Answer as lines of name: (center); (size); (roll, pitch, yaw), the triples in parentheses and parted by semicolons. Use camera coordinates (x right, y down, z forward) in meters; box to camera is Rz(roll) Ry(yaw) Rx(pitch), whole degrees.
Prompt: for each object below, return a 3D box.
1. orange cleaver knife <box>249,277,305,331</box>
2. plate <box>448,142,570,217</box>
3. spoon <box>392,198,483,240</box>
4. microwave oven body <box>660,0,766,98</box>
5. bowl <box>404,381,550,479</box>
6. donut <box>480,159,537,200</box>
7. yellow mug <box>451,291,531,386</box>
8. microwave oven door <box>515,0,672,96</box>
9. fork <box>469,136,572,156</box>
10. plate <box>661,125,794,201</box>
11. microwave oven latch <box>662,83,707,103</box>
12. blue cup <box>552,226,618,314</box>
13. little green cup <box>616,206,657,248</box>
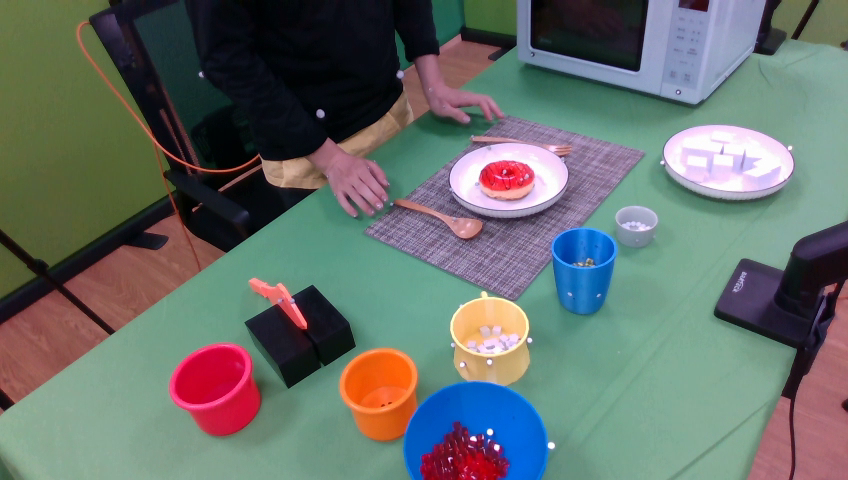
orange cleaver knife: (-0.210, 0.088, 0.856); (0.012, 0.077, 0.210); (-28, 15, -25)
plate: (0.148, -0.101, 1.053); (0.209, 0.038, 0.208); (-4, 40, 4)
spoon: (0.018, -0.042, 1.016); (0.192, 0.022, 0.041); (24, 72, 31)
microwave oven body: (0.473, -0.513, 1.317); (0.438, 0.261, 0.327); (26, 51, 34)
bowl: (0.058, 0.235, 0.645); (0.151, 0.077, 0.150); (-4, 39, 4)
donut: (0.145, -0.106, 1.042); (0.099, 0.048, 0.098); (-4, 38, 4)
yellow mug: (0.085, 0.120, 0.786); (0.100, 0.064, 0.130); (-7, 39, 1)
microwave oven door: (0.344, -0.454, 1.259); (0.353, 0.245, 0.039); (26, 51, 33)
fork: (0.181, -0.184, 1.160); (0.206, 0.019, 0.028); (13, 61, 21)
plate: (0.513, -0.128, 1.035); (0.207, 0.039, 0.206); (-4, 40, 4)
microwave oven latch: (0.517, -0.296, 1.204); (0.078, 0.029, 0.030); (27, 52, 35)
blue cup: (0.218, 0.047, 0.826); (0.092, 0.100, 0.092); (-6, 40, 5)
little green cup: (0.327, -0.019, 0.935); (0.061, 0.039, 0.061); (-4, 40, 4)
